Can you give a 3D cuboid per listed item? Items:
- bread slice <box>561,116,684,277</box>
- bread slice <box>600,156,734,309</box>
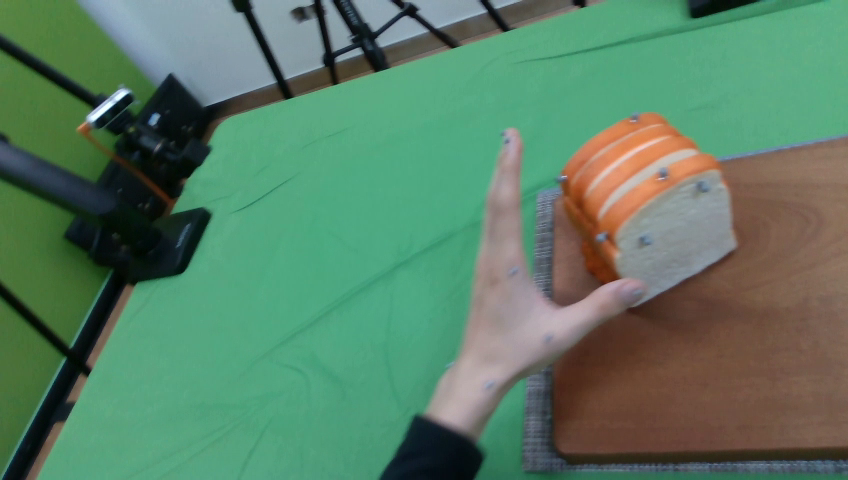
[{"bbox_3d":[0.170,-0.036,0.496,0.107,0.136,0.018,-29,41,2],"label":"bread slice"},{"bbox_3d":[0.185,-0.003,0.459,0.105,0.133,0.019,-33,49,5],"label":"bread slice"}]
